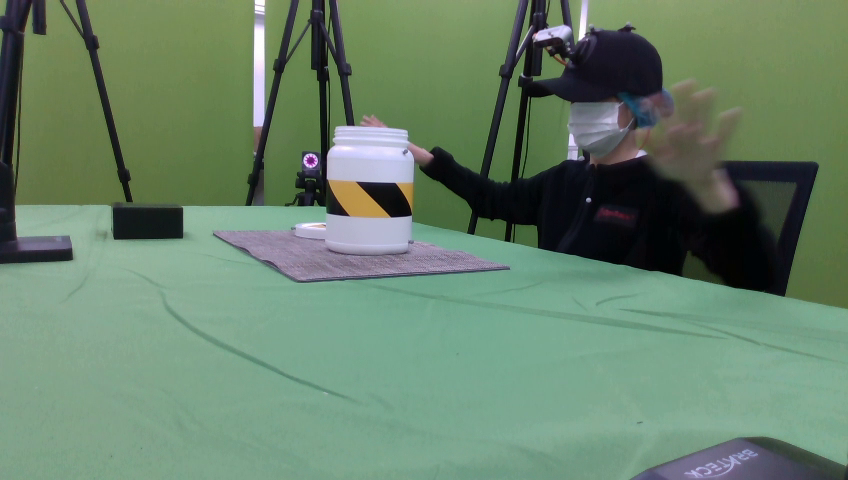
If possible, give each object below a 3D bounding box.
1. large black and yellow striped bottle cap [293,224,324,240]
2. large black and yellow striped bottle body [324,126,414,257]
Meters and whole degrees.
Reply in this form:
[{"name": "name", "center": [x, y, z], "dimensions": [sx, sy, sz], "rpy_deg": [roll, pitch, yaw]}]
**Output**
[{"name": "large black and yellow striped bottle cap", "center": [-0.173, -0.015, 1.071], "dimensions": [0.115, 0.019, 0.115], "rpy_deg": [2, 7, 0]}, {"name": "large black and yellow striped bottle body", "center": [-0.082, -0.074, 0.904], "dimensions": [0.131, 0.184, 0.130], "rpy_deg": [3, 7, 0]}]
